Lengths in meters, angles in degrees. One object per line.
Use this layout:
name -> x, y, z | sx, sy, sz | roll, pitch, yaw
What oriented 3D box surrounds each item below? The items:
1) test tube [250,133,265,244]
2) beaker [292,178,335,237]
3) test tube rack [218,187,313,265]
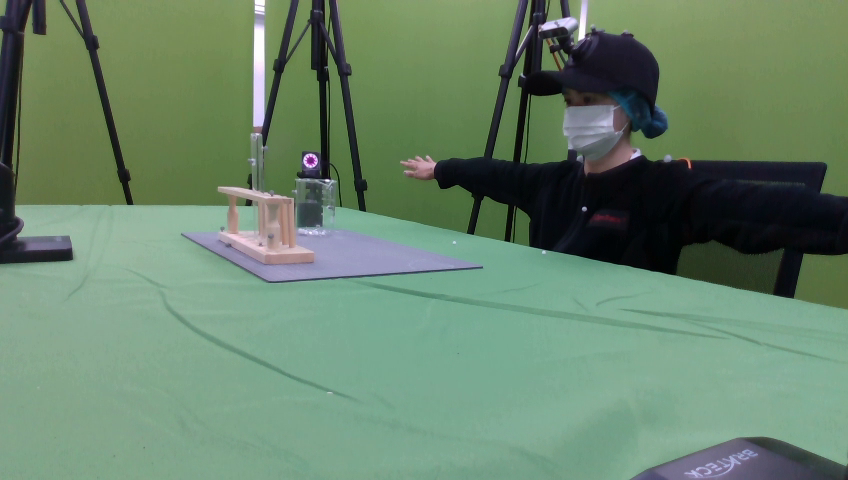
test tube -> -0.227, -0.070, 0.825 | 0.017, 0.150, 0.017 | -1, 3, 0
beaker -> -0.195, -0.058, 1.080 | 0.074, 0.100, 0.083 | -4, 11, -40
test tube rack -> -0.235, -0.027, 0.872 | 0.067, 0.085, 0.241 | -2, 8, -32
